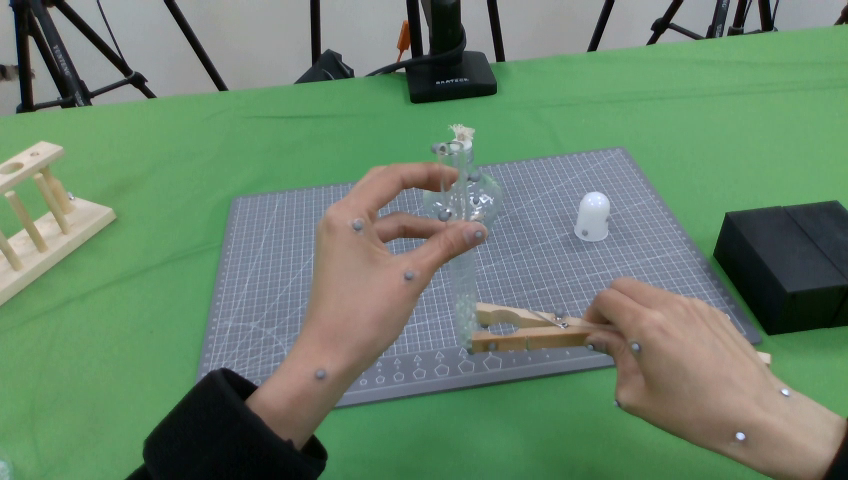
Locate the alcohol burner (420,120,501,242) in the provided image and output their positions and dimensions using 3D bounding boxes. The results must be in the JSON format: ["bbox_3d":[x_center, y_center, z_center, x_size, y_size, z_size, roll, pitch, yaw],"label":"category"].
[{"bbox_3d":[0.034,-0.058,0.571,0.078,0.120,0.077,-3,39,3],"label":"alcohol burner"}]

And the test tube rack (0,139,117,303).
[{"bbox_3d":[-0.421,0.007,0.568,0.066,0.086,0.241,16,45,22],"label":"test tube rack"}]

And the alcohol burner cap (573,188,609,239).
[{"bbox_3d":[0.161,-0.027,0.579,0.034,0.048,0.033,-3,41,3],"label":"alcohol burner cap"}]

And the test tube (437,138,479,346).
[{"bbox_3d":[0.022,0.009,0.367,0.017,0.151,0.017,-5,35,4],"label":"test tube"}]

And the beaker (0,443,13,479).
[{"bbox_3d":[-0.329,0.142,0.393,0.084,0.101,0.073,-24,44,-20],"label":"beaker"}]

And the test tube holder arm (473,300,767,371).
[{"bbox_3d":[0.118,0.059,0.385,0.178,0.015,0.013,7,44,17],"label":"test tube holder arm"}]

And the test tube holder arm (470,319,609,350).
[{"bbox_3d":[0.074,0.061,0.390,0.088,0.015,0.010,-5,41,3],"label":"test tube holder arm"}]
